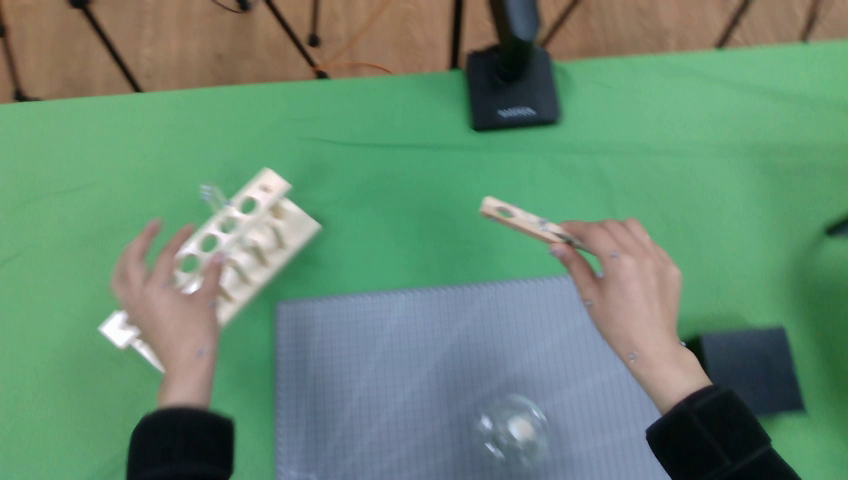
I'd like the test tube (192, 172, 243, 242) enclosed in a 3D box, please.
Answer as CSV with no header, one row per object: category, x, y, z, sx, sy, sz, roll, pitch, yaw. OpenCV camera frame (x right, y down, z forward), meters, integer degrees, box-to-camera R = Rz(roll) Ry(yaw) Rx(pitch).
test tube,-0.220,-0.031,0.658,0.017,0.151,0.017,1,67,-1

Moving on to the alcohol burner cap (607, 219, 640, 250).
alcohol burner cap,0.246,-0.007,0.742,0.034,0.048,0.033,0,71,-1

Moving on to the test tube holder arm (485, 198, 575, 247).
test tube holder arm,0.097,-0.016,0.552,0.088,0.015,0.010,24,79,2

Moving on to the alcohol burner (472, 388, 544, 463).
alcohol burner,0.090,0.192,0.631,0.078,0.120,0.077,1,70,-3

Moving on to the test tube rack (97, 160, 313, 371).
test tube rack,-0.238,0.030,0.689,0.066,0.085,0.242,38,75,11

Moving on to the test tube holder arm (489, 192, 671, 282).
test tube holder arm,0.141,-0.003,0.552,0.178,0.015,0.013,23,79,2
